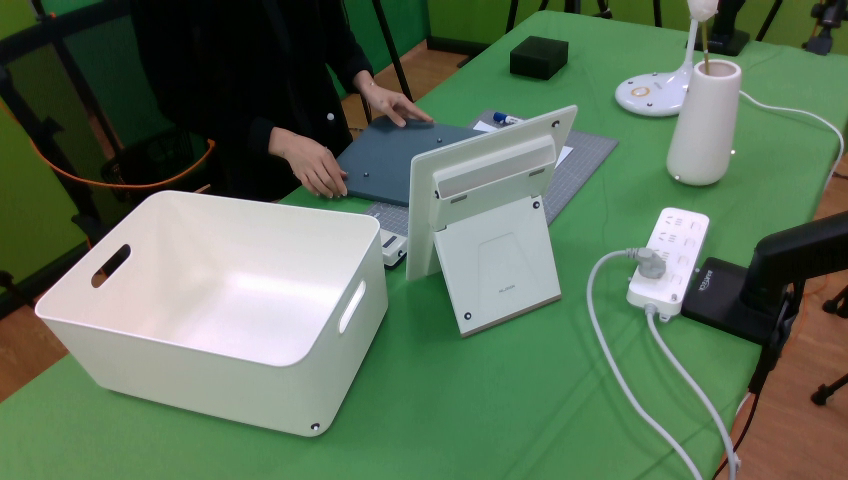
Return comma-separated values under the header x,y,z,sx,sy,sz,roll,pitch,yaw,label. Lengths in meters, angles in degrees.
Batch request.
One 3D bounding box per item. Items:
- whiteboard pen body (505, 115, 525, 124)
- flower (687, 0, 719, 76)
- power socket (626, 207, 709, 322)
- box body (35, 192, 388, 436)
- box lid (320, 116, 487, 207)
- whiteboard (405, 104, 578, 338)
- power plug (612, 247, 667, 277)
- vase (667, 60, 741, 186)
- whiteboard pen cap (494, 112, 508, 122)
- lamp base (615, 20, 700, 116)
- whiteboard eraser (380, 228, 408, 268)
x,y,z,sx,sy,sz,roll,pitch,yaw,label
0.203,-0.232,1.213,0.139,0.017,0.017,28,51,36,whiteboard pen body
0.436,-0.242,0.934,0.038,0.364,0.043,-24,49,8,flower
0.360,0.026,0.886,0.072,0.033,0.227,17,46,27,power socket
-0.251,0.087,0.800,0.362,0.161,0.254,7,42,16,box body
0.017,-0.144,1.143,0.369,0.015,0.263,13,45,21,box lid
0.103,0.003,0.786,0.218,0.306,0.143,-19,62,-14,whiteboard
0.306,0.031,0.852,0.072,0.053,0.035,21,48,37,power plug
0.463,-0.189,0.994,0.098,0.201,0.097,-4,40,4,vase
0.161,-0.253,1.248,0.033,0.018,0.018,27,51,36,whiteboard pen cap
0.484,-0.364,1.211,0.180,0.181,0.159,-15,41,-14,lamp base
-0.081,0.007,0.963,0.112,0.042,0.056,19,48,27,whiteboard eraser
